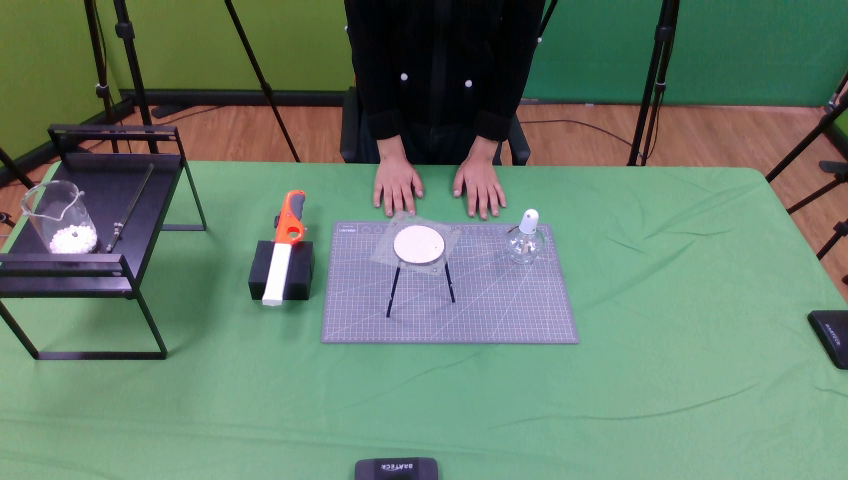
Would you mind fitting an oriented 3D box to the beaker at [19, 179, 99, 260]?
[{"bbox_3d":[-0.522,-0.024,0.878,0.074,0.101,0.083,-26,54,-25],"label":"beaker"}]

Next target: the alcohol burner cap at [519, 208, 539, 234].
[{"bbox_3d":[0.199,-0.037,1.132,0.034,0.048,0.033,4,44,-4],"label":"alcohol burner cap"}]

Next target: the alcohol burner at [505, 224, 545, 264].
[{"bbox_3d":[0.195,-0.012,1.158,0.078,0.120,0.077,1,44,-1],"label":"alcohol burner"}]

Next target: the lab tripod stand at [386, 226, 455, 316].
[{"bbox_3d":[-0.013,0.054,1.064,0.148,0.132,0.147,2,48,-2],"label":"lab tripod stand"}]

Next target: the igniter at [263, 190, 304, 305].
[{"bbox_3d":[-0.255,0.004,1.107,0.057,0.025,0.274,6,47,-7],"label":"igniter"}]

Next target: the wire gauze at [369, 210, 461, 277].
[{"bbox_3d":[-0.013,0.005,1.017,0.121,0.011,0.124,17,49,12],"label":"wire gauze"}]

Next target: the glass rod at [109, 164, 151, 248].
[{"bbox_3d":[-0.473,-0.060,0.979,0.008,0.008,0.198,1,46,-3],"label":"glass rod"}]
